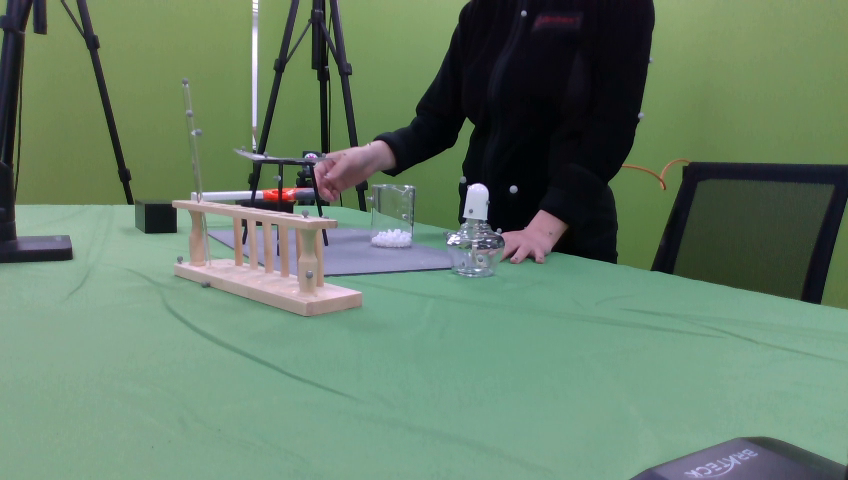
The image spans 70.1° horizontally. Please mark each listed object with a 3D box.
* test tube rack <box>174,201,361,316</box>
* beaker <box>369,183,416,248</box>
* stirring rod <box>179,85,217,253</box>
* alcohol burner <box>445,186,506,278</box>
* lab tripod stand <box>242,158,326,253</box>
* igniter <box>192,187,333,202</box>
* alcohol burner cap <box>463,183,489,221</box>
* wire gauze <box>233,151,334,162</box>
[{"bbox_3d":[-0.169,0.010,0.622,0.241,0.085,0.067,9,10,41],"label":"test tube rack"},{"bbox_3d":[-0.050,-0.039,0.971,0.074,0.100,0.083,-2,9,-25],"label":"beaker"},{"bbox_3d":[-0.236,-0.073,0.634,0.006,0.176,0.014,0,9,41],"label":"stirring rod"},{"bbox_3d":[0.066,-0.013,0.770,0.078,0.119,0.078,0,7,0],"label":"alcohol burner"},{"bbox_3d":[-0.207,-0.054,0.895,0.148,0.131,0.148,3,5,0],"label":"lab tripod stand"},{"bbox_3d":[-0.316,-0.090,1.213,0.278,0.025,0.057,-5,12,-31],"label":"igniter"},{"bbox_3d":[0.067,-0.048,0.765,0.034,0.048,0.034,5,5,0],"label":"alcohol burner cap"},{"bbox_3d":[-0.205,-0.121,0.887,0.122,0.011,0.124,0,8,-32],"label":"wire gauze"}]
